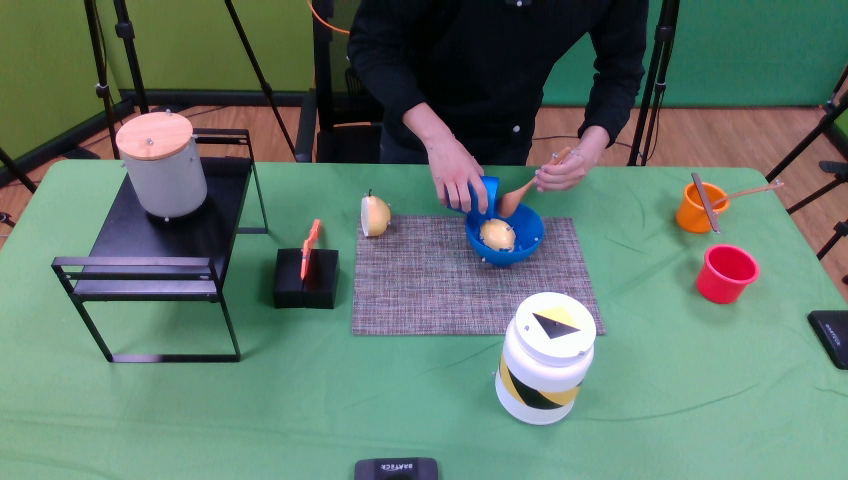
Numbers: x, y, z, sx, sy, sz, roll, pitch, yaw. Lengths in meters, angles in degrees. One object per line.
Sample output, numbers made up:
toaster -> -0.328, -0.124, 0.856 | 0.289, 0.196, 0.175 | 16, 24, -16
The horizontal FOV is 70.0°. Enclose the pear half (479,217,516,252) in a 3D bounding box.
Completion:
pear half -> 0.145, -0.014, 1.167 | 0.070, 0.031, 0.087 | -22, 57, -17

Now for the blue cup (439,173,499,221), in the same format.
blue cup -> 0.083, -0.086, 1.134 | 0.100, 0.093, 0.092 | 10, 46, 6

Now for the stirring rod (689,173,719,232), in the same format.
stirring rod -> 0.566, -0.079, 1.225 | 0.014, 0.006, 0.175 | 2, 46, 2

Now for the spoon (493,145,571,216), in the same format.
spoon -> 0.191, -0.108, 1.088 | 0.022, 0.194, 0.041 | -16, 68, -54

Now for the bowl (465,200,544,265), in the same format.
bowl -> 0.149, -0.004, 1.167 | 0.151, 0.077, 0.150 | 2, 46, -2

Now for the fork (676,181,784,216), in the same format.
fork -> 0.618, -0.084, 1.235 | 0.207, 0.019, 0.028 | -23, 20, 38

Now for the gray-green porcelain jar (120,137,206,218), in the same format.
gray-green porcelain jar -> -0.403, -0.106, 0.946 | 0.106, 0.127, 0.105 | 3, 46, -2

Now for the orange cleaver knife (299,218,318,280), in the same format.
orange cleaver knife -> -0.214, 0.013, 1.125 | 0.012, 0.077, 0.210 | 6, 17, -5

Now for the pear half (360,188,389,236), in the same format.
pear half -> -0.096, -0.060, 1.181 | 0.056, 0.110, 0.076 | -13, 52, -17

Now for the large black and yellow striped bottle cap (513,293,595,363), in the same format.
large black and yellow striped bottle cap -> 0.186, 0.123, 0.863 | 0.115, 0.019, 0.114 | 3, 45, -3

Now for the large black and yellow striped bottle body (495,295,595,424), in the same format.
large black and yellow striped bottle body -> 0.183, 0.182, 0.923 | 0.131, 0.185, 0.130 | 2, 46, -2

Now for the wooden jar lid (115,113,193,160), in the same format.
wooden jar lid -> -0.399, -0.151, 0.900 | 0.108, 0.021, 0.107 | 3, 46, -3
